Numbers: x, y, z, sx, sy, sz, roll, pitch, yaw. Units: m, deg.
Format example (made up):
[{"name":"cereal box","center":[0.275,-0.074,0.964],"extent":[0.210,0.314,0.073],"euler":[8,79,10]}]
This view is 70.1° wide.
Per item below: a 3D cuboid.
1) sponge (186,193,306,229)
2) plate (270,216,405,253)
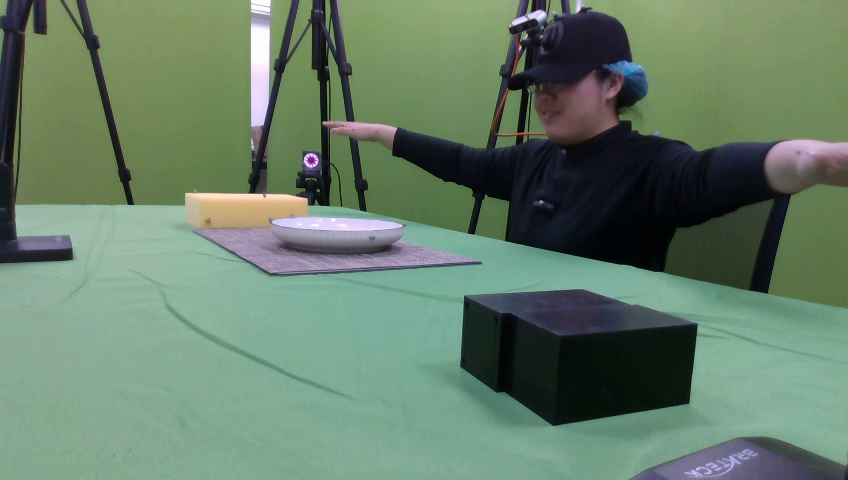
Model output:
[{"name":"sponge","center":[-0.350,-0.059,1.194],"extent":[0.208,0.061,0.117],"euler":[-3,9,-34]},{"name":"plate","center":[-0.134,-0.010,0.946],"extent":[0.208,0.039,0.207],"euler":[3,7,0]}]
